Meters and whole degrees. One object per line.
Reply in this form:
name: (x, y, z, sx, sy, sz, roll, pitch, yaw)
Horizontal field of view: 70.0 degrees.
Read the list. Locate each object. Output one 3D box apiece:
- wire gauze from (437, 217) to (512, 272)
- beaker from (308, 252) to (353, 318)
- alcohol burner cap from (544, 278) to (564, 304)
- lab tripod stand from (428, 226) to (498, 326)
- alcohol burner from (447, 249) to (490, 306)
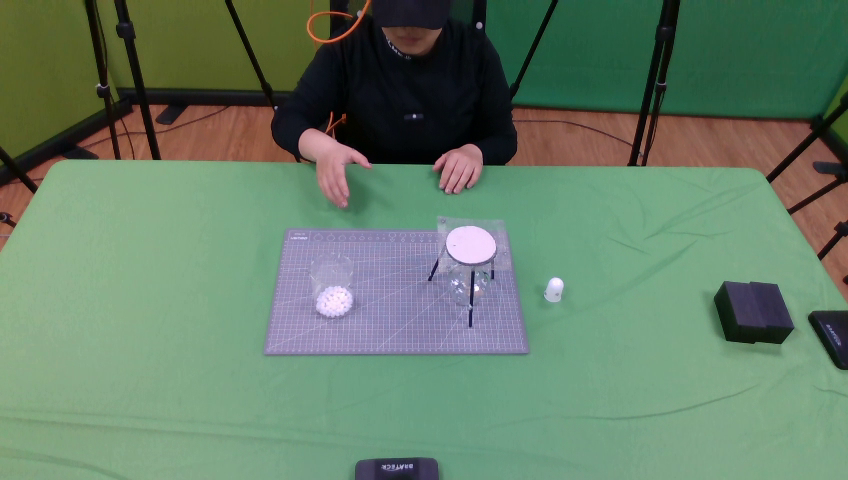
wire gauze: (0.083, 0.006, 1.025, 0.121, 0.011, 0.124, 2, 47, -4)
beaker: (-0.159, 0.080, 1.052, 0.074, 0.101, 0.083, 11, 46, 6)
alcohol burner cap: (0.241, 0.090, 1.117, 0.034, 0.048, 0.033, 1, 45, -1)
lab tripod stand: (0.079, 0.056, 1.070, 0.148, 0.132, 0.147, 3, 47, -3)
alcohol burner: (0.080, 0.062, 1.078, 0.078, 0.120, 0.077, 1, 45, -1)
